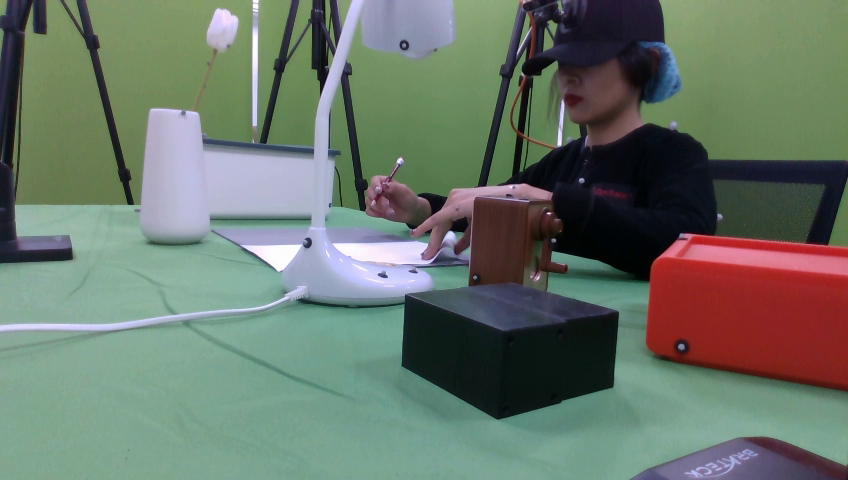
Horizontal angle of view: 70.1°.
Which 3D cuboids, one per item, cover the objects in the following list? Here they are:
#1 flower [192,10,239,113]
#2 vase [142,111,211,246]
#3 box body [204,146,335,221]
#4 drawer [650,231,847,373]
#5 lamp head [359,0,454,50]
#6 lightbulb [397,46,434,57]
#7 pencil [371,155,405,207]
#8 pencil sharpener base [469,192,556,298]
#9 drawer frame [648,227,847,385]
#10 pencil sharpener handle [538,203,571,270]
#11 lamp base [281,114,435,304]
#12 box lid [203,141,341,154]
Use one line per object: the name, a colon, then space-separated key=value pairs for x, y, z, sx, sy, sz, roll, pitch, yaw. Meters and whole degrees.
flower: x=-0.354 y=-0.174 z=0.915 sx=0.038 sy=0.361 sz=0.044 roll=18 pitch=-3 yaw=12
vase: x=-0.378 y=-0.093 z=0.920 sx=0.098 sy=0.200 sz=0.098 roll=2 pitch=9 yaw=0
box body: x=-0.410 y=-0.135 z=1.386 sx=0.366 sy=0.160 sz=0.253 roll=-2 pitch=9 yaw=-29
drawer: x=0.303 y=0.044 z=0.499 sx=0.194 sy=0.073 sz=0.212 roll=7 pitch=9 yaw=27
lamp head: x=-0.024 y=-0.282 z=0.674 sx=0.112 sy=0.123 sz=0.112 roll=-3 pitch=38 yaw=3
lightbulb: x=-0.017 y=-0.264 z=0.692 sx=0.059 sy=0.108 sz=0.059 roll=-9 pitch=28 yaw=5
pencil: x=-0.064 y=-0.107 z=1.086 sx=0.012 sy=0.012 sz=0.194 roll=4 pitch=34 yaw=14
pencil sharpener base: x=0.097 y=0.003 z=0.652 sx=0.076 sy=0.107 sz=0.061 roll=8 pitch=9 yaw=38
drawer frame: x=0.303 y=0.043 z=0.495 sx=0.201 sy=0.082 sz=0.214 roll=6 pitch=9 yaw=26
pencil sharpener handle: x=0.137 y=-0.003 z=0.619 sx=0.030 sy=0.067 sz=0.036 roll=8 pitch=6 yaw=38
lamp base: x=-0.071 y=-0.034 z=0.614 sx=0.160 sy=0.180 sz=0.180 roll=6 pitch=10 yaw=27
box lid: x=-0.396 y=-0.212 z=1.373 sx=0.373 sy=0.015 sz=0.262 roll=-1 pitch=9 yaw=-29
